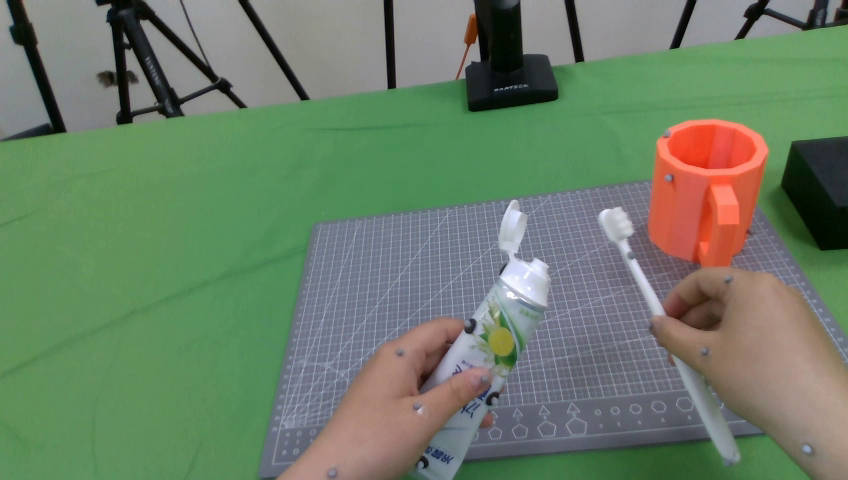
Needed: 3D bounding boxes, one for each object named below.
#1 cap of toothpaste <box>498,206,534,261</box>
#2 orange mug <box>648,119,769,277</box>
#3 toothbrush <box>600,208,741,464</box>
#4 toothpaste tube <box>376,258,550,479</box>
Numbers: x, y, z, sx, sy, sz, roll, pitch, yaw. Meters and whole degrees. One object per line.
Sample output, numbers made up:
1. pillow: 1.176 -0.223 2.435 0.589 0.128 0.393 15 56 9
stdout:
1. cap of toothpaste: 0.059 -0.004 0.383 0.011 0.038 0.037 19 49 31
2. orange mug: 0.245 -0.032 0.524 0.083 0.102 0.125 -2 37 12
3. toothbrush: 0.160 0.060 0.389 0.014 0.016 0.181 -25 88 -24
4. toothpaste tube: 0.030 0.082 0.387 0.055 0.165 0.034 30 9 6
